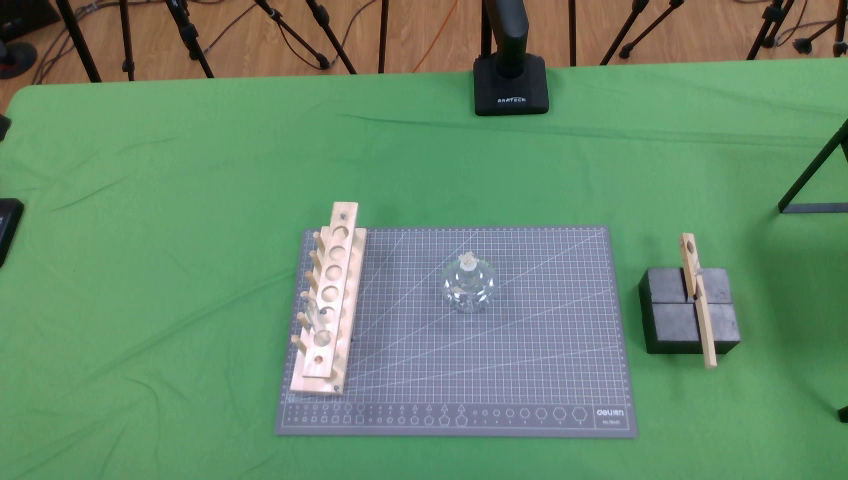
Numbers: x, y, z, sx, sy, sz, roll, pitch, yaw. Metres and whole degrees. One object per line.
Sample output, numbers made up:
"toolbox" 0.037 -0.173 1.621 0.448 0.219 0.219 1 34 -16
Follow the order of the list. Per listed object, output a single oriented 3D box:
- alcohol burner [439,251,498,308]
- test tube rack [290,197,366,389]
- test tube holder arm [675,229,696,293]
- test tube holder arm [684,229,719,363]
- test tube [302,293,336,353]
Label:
"alcohol burner" 0.057 0.043 0.788 0.078 0.120 0.077 -2 64 4
"test tube rack" -0.131 0.066 0.802 0.067 0.086 0.240 3 63 5
"test tube holder arm" 0.339 0.027 0.782 0.010 0.015 0.087 1 62 -1
"test tube holder arm" 0.346 0.067 0.762 0.013 0.015 0.177 -1 63 -2
"test tube" -0.124 0.105 0.726 0.017 0.151 0.017 -1 58 2
